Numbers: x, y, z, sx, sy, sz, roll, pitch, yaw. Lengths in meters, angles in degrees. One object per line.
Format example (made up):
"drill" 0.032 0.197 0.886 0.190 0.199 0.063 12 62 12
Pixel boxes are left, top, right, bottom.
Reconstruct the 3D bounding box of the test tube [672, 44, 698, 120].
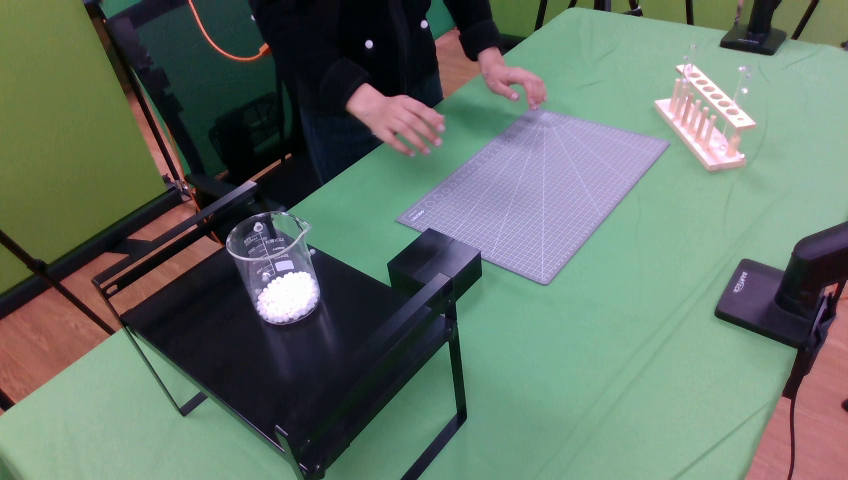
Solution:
"test tube" 0.484 -0.291 1.122 0.017 0.151 0.017 -2 41 2

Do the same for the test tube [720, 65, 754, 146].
"test tube" 0.533 -0.226 1.032 0.017 0.151 0.017 -1 40 2

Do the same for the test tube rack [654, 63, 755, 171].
"test tube rack" 0.510 -0.233 1.120 0.067 0.085 0.241 -8 41 -1

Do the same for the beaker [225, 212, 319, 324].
"beaker" -0.149 0.031 0.625 0.084 0.101 0.073 -18 42 -13
